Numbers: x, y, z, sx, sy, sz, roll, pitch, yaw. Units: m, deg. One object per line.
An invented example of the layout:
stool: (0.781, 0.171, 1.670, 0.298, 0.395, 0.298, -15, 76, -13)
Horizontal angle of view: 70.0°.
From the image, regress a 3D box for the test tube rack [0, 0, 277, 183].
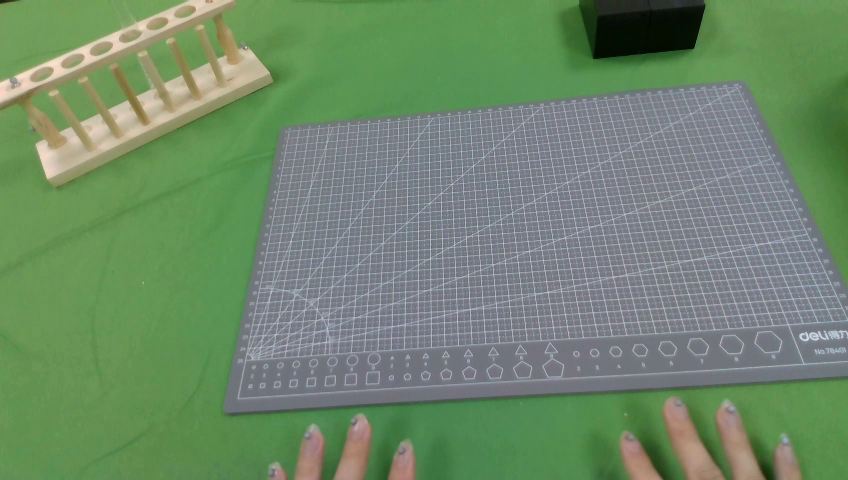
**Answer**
test tube rack: (-0.284, -0.161, 0.614, 0.242, 0.086, 0.066, -30, 55, -14)

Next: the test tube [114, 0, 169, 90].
test tube: (-0.282, -0.211, 0.589, 0.017, 0.151, 0.017, -3, 49, 3)
